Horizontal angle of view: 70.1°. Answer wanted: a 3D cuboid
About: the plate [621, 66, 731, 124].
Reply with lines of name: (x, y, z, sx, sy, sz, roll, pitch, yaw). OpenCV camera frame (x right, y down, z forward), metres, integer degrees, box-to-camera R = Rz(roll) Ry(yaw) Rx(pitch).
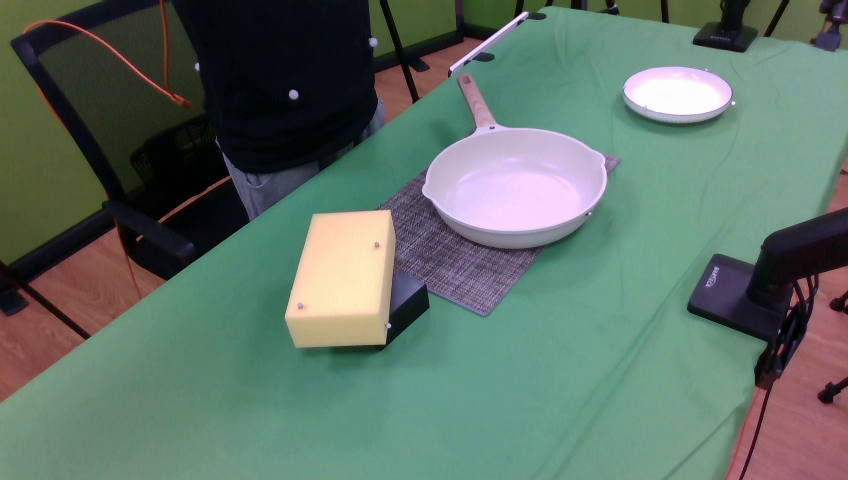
plate: (0.504, -0.288, 1.221, 0.207, 0.039, 0.206, -4, 41, 4)

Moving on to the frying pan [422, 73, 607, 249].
frying pan: (0.130, -0.161, 1.069, 0.307, 0.103, 0.484, -10, 49, -6)

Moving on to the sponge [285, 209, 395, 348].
sponge: (-0.107, 0.047, 0.823, 0.118, 0.061, 0.206, -3, 41, 4)
